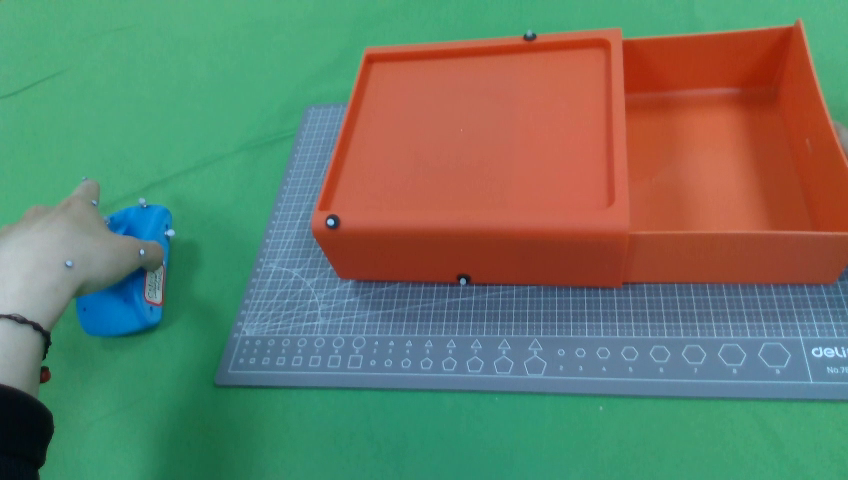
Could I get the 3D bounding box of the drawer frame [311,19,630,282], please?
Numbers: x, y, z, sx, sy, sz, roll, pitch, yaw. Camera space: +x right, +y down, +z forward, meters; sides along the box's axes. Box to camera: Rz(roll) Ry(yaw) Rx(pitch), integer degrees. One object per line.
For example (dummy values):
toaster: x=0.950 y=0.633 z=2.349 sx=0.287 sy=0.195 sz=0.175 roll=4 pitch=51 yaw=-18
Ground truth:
drawer frame: x=0.046 y=-0.069 z=0.466 sx=0.213 sy=0.083 sz=0.200 roll=0 pitch=56 yaw=14

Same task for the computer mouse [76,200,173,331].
computer mouse: x=-0.248 y=0.018 z=0.504 sx=0.062 sy=0.041 sz=0.116 roll=-8 pitch=63 yaw=13

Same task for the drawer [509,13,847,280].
drawer: x=0.171 y=-0.069 z=0.439 sx=0.211 sy=0.074 sz=0.193 roll=0 pitch=56 yaw=13
